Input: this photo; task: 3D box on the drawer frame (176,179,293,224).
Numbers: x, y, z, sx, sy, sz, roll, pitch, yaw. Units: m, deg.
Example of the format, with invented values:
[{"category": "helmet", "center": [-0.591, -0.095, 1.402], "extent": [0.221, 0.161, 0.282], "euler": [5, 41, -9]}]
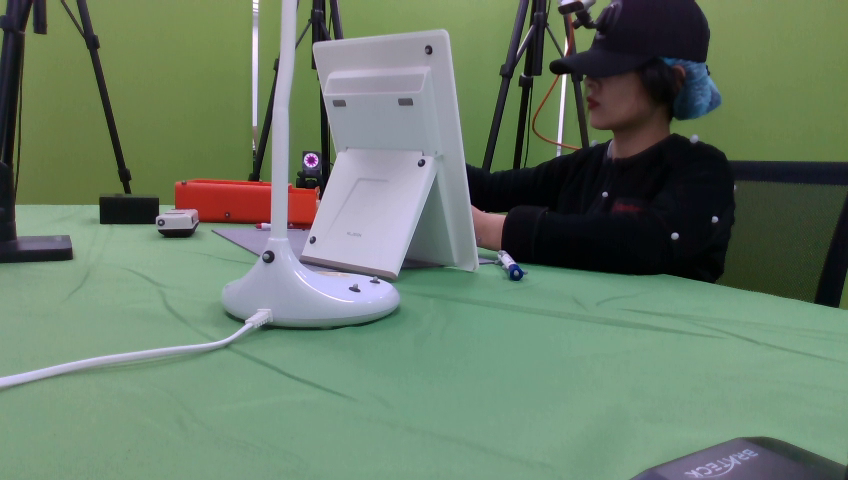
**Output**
[{"category": "drawer frame", "center": [-0.395, -0.086, 1.299], "extent": [0.214, 0.082, 0.201], "euler": [1, 8, -9]}]

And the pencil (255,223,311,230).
[{"category": "pencil", "center": [-0.216, -0.022, 1.134], "extent": [0.195, 0.012, 0.012], "euler": [2, 7, -22]}]

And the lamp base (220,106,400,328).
[{"category": "lamp base", "center": [-0.101, -0.023, 0.531], "extent": [0.160, 0.180, 0.179], "euler": [4, 10, 10]}]

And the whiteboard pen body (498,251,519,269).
[{"category": "whiteboard pen body", "center": [0.116, 0.032, 0.810], "extent": [0.017, 0.017, 0.140], "euler": [2, 8, -1]}]

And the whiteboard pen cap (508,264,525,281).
[{"category": "whiteboard pen cap", "center": [0.115, 0.039, 0.752], "extent": [0.018, 0.018, 0.033], "euler": [2, 9, 0]}]

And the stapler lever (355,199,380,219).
[{"category": "stapler lever", "center": [-0.115, -0.062, 1.233], "extent": [0.027, 0.040, 0.118], "euler": [8, 4, 8]}]

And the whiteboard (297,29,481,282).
[{"category": "whiteboard", "center": [-0.075, -0.082, 0.741], "extent": [0.216, 0.305, 0.144], "euler": [9, 29, 37]}]

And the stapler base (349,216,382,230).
[{"category": "stapler base", "center": [-0.117, -0.036, 1.233], "extent": [0.041, 0.024, 0.131], "euler": [8, 5, 8]}]

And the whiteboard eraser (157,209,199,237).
[{"category": "whiteboard eraser", "center": [-0.411, -0.029, 1.016], "extent": [0.056, 0.042, 0.112], "euler": [2, 7, -16]}]

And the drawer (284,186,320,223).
[{"category": "drawer", "center": [-0.333, -0.082, 1.310], "extent": [0.212, 0.073, 0.194], "euler": [1, 8, -8]}]
